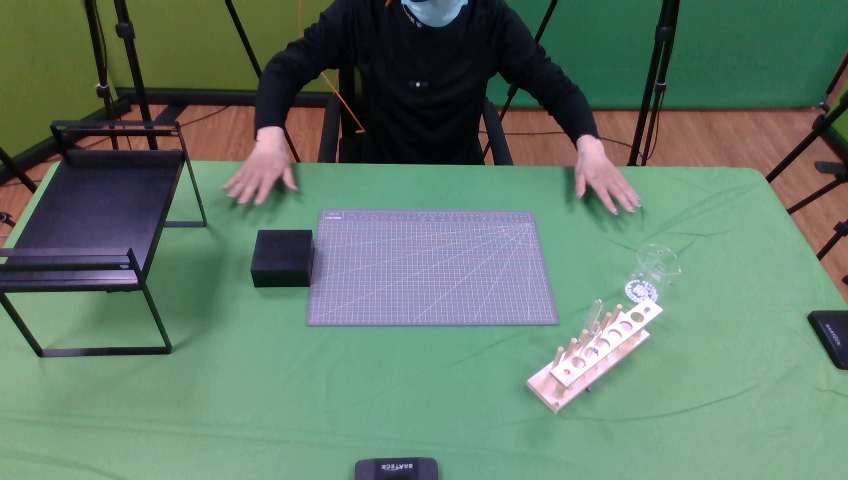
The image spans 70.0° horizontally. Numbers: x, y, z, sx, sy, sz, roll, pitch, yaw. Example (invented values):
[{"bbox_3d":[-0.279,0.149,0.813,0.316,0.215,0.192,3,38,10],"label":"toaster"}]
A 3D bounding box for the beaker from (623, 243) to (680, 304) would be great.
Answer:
[{"bbox_3d":[0.414,0.067,1.111,0.083,0.101,0.074,31,52,22],"label":"beaker"}]

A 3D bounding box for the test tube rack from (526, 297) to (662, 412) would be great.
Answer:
[{"bbox_3d":[0.284,0.176,1.007,0.242,0.085,0.066,-29,54,-27],"label":"test tube rack"}]

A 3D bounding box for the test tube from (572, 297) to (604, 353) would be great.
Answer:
[{"bbox_3d":[0.263,0.141,0.977,0.017,0.151,0.017,2,47,-2],"label":"test tube"}]

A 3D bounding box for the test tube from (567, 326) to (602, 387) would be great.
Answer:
[{"bbox_3d":[0.243,0.182,0.930,0.017,0.151,0.017,5,45,-5],"label":"test tube"}]
